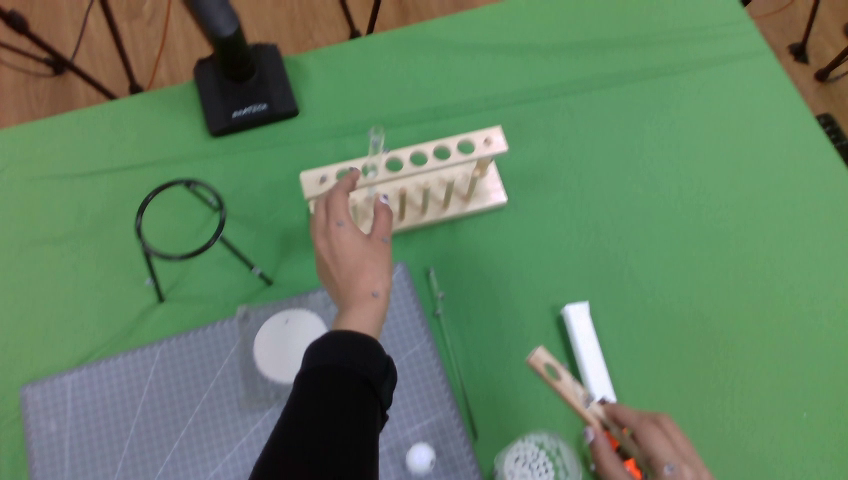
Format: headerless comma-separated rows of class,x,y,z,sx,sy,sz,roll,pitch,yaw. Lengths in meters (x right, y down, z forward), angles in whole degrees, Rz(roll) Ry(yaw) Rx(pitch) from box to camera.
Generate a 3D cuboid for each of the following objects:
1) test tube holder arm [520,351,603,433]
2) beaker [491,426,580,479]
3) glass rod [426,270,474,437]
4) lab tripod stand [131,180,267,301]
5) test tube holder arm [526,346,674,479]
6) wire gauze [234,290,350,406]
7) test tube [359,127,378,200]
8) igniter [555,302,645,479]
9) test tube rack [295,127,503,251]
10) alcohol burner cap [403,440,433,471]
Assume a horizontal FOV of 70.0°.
test tube holder arm,0.115,0.125,0.497,0.088,0.015,0.010,43,76,1
beaker,0.106,0.232,0.617,0.084,0.101,0.073,12,67,3
glass rod,0.029,0.128,0.702,0.008,0.008,0.198,-13,72,-8
lab tripod stand,-0.255,0.006,0.672,0.148,0.132,0.147,1,70,-2
test tube holder arm,0.151,0.152,0.498,0.178,0.015,0.013,43,76,1
wire gauze,-0.154,0.123,0.695,0.125,0.011,0.120,-7,70,-6
test tube,-0.063,-0.082,0.686,0.017,0.151,0.017,3,68,-7
igniter,0.199,0.202,0.671,0.057,0.025,0.274,-7,69,-16
test tube rack,-0.024,-0.060,0.733,0.243,0.086,0.066,-14,69,-8
alcohol burner cap,-0.006,0.227,0.641,0.034,0.048,0.033,1,68,-2
